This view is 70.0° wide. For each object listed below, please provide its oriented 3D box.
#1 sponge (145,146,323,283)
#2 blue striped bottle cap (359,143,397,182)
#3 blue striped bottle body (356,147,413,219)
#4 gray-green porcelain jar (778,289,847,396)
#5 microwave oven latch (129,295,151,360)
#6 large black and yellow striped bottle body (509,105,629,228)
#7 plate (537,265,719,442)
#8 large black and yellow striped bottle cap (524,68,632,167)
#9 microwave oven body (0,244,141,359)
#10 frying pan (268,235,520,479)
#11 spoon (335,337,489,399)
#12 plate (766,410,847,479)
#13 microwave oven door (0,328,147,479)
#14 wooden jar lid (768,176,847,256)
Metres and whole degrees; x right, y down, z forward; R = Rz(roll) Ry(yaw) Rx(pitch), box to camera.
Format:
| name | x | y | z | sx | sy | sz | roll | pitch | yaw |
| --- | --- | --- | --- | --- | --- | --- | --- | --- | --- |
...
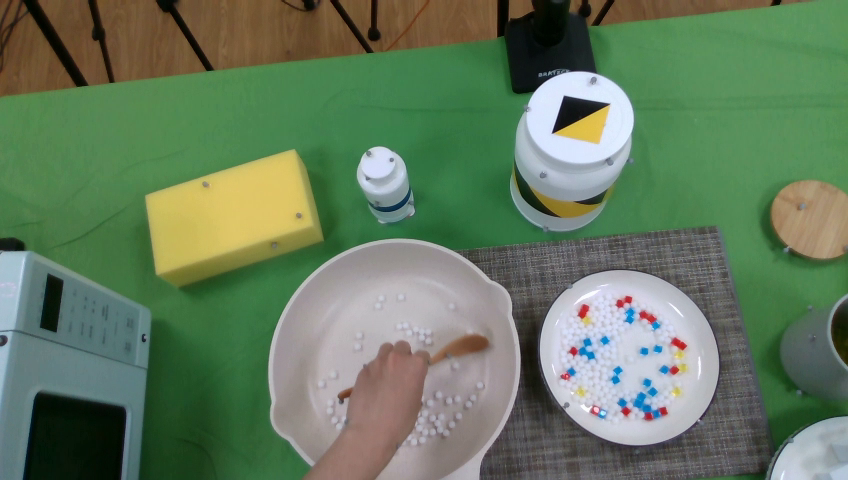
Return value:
| name | x | y | z | sx | sy | sz | roll | pitch | yaw |
| --- | --- | --- | --- | --- | --- | --- | --- | --- | --- |
| sponge | -0.253 | -0.034 | 0.812 | 0.207 | 0.061 | 0.117 | -18 | 71 | -3 |
| blue striped bottle cap | -0.056 | -0.094 | 0.730 | 0.044 | 0.021 | 0.044 | -2 | 68 | 6 |
| blue striped bottle body | -0.051 | -0.077 | 0.779 | 0.063 | 0.121 | 0.062 | -1 | 71 | 4 |
| gray-green porcelain jar | 0.466 | 0.116 | 0.669 | 0.106 | 0.127 | 0.105 | -1 | 71 | 4 |
| microwave oven latch | -0.364 | 0.111 | 0.764 | 0.030 | 0.030 | 0.078 | -4 | 71 | 3 |
| large black and yellow striped bottle body | 0.173 | -0.105 | 0.738 | 0.131 | 0.185 | 0.130 | -1 | 70 | 4 |
| plate | 0.239 | 0.132 | 0.724 | 0.209 | 0.038 | 0.207 | -2 | 71 | 5 |
| large black and yellow striped bottle cap | 0.167 | -0.134 | 0.659 | 0.115 | 0.019 | 0.114 | -1 | 72 | 4 |
| microwave oven body | -0.508 | 0.258 | 0.622 | 0.326 | 0.262 | 0.438 | -5 | 71 | 2 |
| frying pan | 0.012 | 0.220 | 0.678 | 0.307 | 0.103 | 0.483 | -28 | 63 | -4 |
| spoon | -0.010 | 0.150 | 0.704 | 0.194 | 0.042 | 0.021 | -17 | 50 | -25 |
| plate | 0.475 | 0.291 | 0.656 | 0.207 | 0.039 | 0.206 | -1 | 71 | 4 |
| microwave oven door | -0.362 | 0.283 | 0.596 | 0.039 | 0.245 | 0.353 | -5 | 70 | 3 |
| wooden jar lid | 0.494 | -0.029 | 0.773 | 0.108 | 0.021 | 0.107 | -1 | 72 | 5 |
